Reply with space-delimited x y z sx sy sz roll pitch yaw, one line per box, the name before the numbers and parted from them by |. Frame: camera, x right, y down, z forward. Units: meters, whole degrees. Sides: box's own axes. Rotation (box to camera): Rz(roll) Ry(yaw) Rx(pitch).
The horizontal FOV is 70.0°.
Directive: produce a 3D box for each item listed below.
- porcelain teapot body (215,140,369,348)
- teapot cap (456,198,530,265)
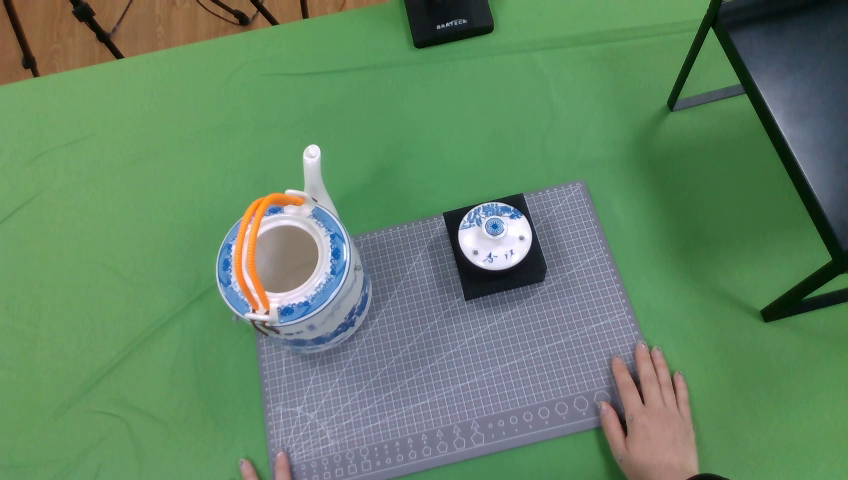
porcelain teapot body | -0.141 -0.001 0.664 0.145 0.227 0.204 7 69 9
teapot cap | 0.078 -0.012 0.691 0.085 0.044 0.084 -2 65 6
